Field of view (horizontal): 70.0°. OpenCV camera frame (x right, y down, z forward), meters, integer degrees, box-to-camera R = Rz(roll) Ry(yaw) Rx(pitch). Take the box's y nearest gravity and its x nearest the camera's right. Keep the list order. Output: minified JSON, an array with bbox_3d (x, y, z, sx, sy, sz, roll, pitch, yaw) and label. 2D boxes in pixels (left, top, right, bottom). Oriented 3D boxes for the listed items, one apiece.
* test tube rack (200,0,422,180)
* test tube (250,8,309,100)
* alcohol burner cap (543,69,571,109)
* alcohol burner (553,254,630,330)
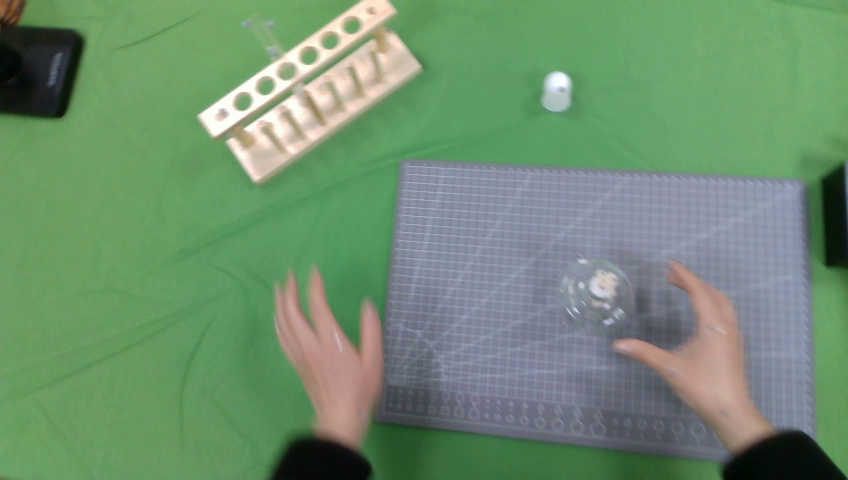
[{"bbox_3d":[-0.123,-0.175,0.696,0.242,0.085,0.066,-35,77,-2],"label":"test tube rack"},{"bbox_3d":[-0.150,-0.194,0.651,0.017,0.151,0.017,-2,72,7],"label":"test tube"},{"bbox_3d":[0.153,-0.175,0.690,0.034,0.048,0.033,-2,72,7],"label":"alcohol burner cap"},{"bbox_3d":[0.168,0.049,0.603,0.078,0.120,0.077,-2,75,7],"label":"alcohol burner"}]
